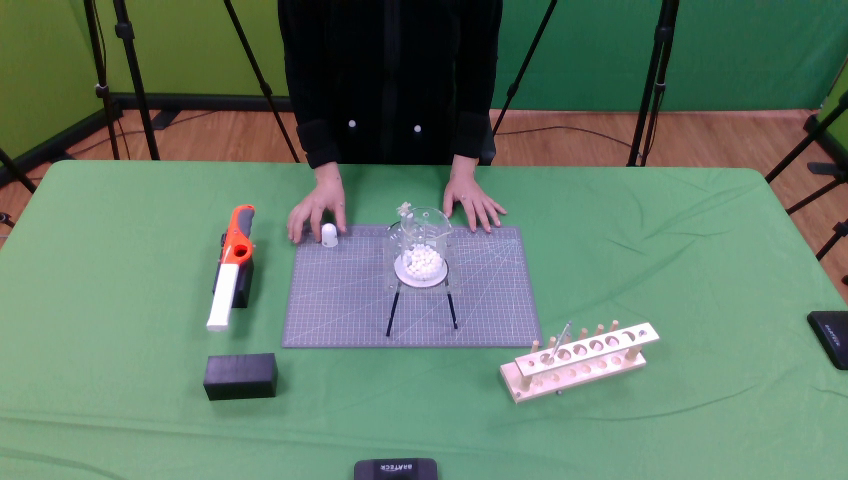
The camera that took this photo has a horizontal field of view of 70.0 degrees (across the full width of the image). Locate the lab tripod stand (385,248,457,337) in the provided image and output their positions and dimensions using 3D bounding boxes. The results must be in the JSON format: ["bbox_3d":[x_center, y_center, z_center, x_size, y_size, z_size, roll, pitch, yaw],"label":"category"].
[{"bbox_3d":[-0.010,0.087,1.032,0.148,0.132,0.147,1,45,-1],"label":"lab tripod stand"}]

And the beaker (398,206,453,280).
[{"bbox_3d":[0.000,0.008,0.950,0.084,0.101,0.073,10,45,6],"label":"beaker"}]

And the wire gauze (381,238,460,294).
[{"bbox_3d":[-0.007,0.042,0.985,0.125,0.011,0.120,-1,43,-2],"label":"wire gauze"}]

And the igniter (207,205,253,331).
[{"bbox_3d":[-0.339,0.038,1.066,0.057,0.025,0.274,2,48,-6],"label":"igniter"}]

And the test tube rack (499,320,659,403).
[{"bbox_3d":[0.252,0.187,0.994,0.243,0.085,0.066,-12,48,-15],"label":"test tube rack"}]

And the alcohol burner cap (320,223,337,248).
[{"bbox_3d":[-0.187,-0.011,1.176,0.034,0.048,0.033,2,46,-2],"label":"alcohol burner cap"}]

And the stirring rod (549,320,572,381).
[{"bbox_3d":[0.202,0.168,0.901,0.006,0.177,0.014,-16,54,-11],"label":"stirring rod"}]

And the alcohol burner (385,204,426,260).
[{"bbox_3d":[-0.035,-0.020,1.147,0.078,0.120,0.077,1,46,-1],"label":"alcohol burner"}]
